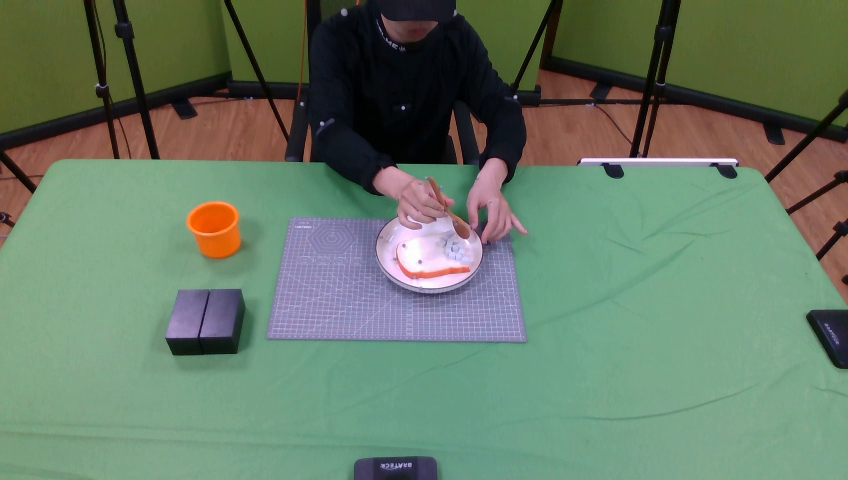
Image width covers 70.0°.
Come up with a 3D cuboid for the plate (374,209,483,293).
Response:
[{"bbox_3d":[0.009,0.024,1.161,0.209,0.038,0.208,2,46,-2],"label":"plate"}]

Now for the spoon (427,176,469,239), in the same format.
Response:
[{"bbox_3d":[0.043,-0.056,1.096,0.041,0.195,0.021,29,78,34],"label":"spoon"}]

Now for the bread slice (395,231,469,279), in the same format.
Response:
[{"bbox_3d":[0.011,0.030,1.158,0.132,0.019,0.104,-9,47,-13],"label":"bread slice"}]
